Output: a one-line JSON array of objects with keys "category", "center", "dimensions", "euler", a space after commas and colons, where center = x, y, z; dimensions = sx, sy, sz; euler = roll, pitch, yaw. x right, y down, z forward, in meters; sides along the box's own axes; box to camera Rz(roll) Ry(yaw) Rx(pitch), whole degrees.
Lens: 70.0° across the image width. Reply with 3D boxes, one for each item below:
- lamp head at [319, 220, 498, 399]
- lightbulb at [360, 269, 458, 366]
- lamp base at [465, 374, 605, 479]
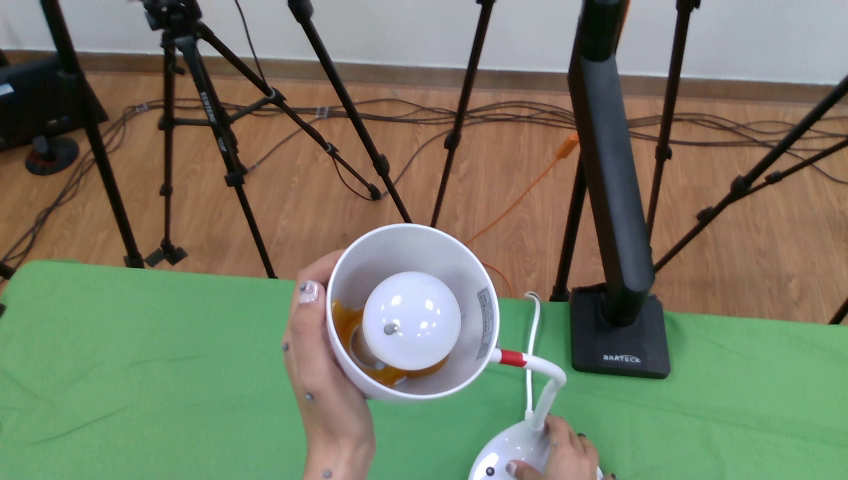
[{"category": "lamp head", "center": [-0.019, 0.060, 0.418], "dimensions": [0.113, 0.123, 0.111], "euler": [6, 66, -13]}, {"category": "lightbulb", "center": [-0.017, 0.055, 0.393], "dimensions": [0.060, 0.108, 0.059], "euler": [7, 69, -18]}, {"category": "lamp base", "center": [0.121, 0.227, 0.626], "dimensions": [0.161, 0.182, 0.177], "euler": [-7, 52, -3]}]
